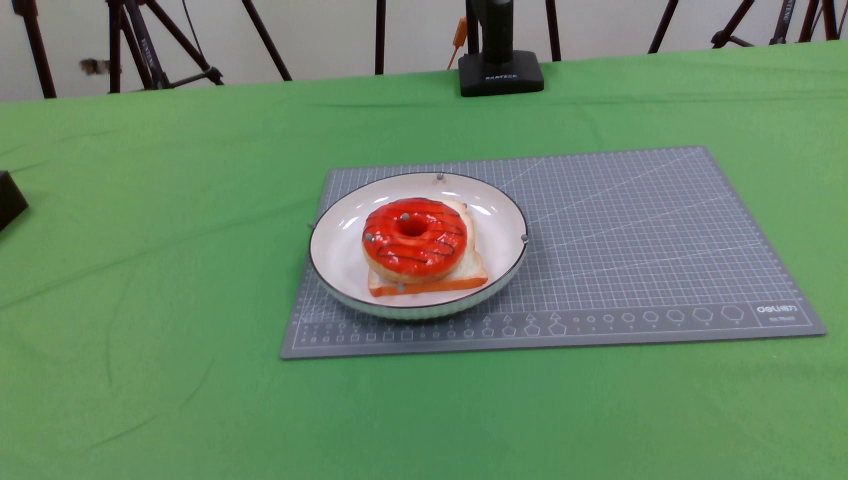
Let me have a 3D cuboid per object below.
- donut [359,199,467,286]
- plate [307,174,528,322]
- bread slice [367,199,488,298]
[{"bbox_3d":[-0.010,0.002,0.547,0.099,0.049,0.098,-1,42,1],"label":"donut"},{"bbox_3d":[-0.005,0.007,0.584,0.209,0.038,0.207,-3,39,3],"label":"plate"},{"bbox_3d":[-0.003,0.005,0.588,0.107,0.018,0.133,-6,39,-3],"label":"bread slice"}]
